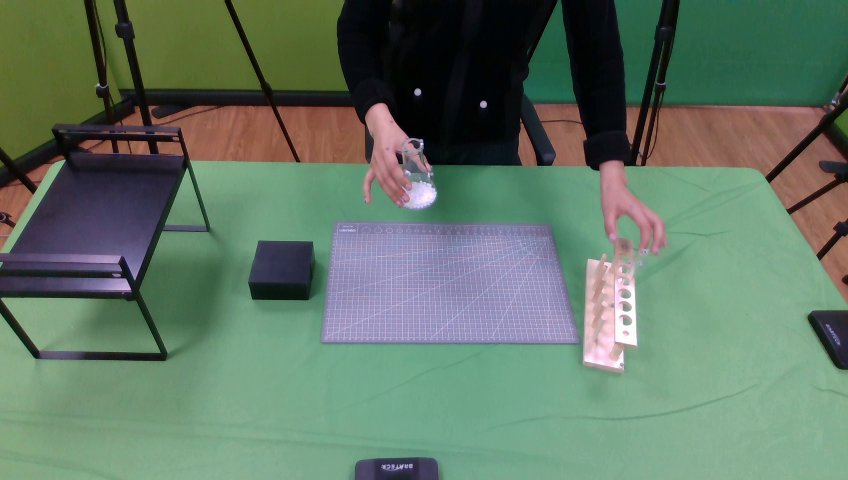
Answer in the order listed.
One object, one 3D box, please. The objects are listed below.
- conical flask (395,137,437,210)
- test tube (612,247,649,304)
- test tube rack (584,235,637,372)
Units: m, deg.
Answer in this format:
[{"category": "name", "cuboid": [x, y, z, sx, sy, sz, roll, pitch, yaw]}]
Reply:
[{"category": "conical flask", "cuboid": [-0.018, -0.117, 1.030, 0.075, 0.122, 0.075, -3, 48, 3]}, {"category": "test tube", "cuboid": [0.353, 0.065, 1.044, 0.017, 0.151, 0.017, 3, 49, -4]}, {"category": "test tube rack", "cuboid": [0.329, 0.103, 1.073, 0.067, 0.085, 0.241, 11, 47, 7]}]
